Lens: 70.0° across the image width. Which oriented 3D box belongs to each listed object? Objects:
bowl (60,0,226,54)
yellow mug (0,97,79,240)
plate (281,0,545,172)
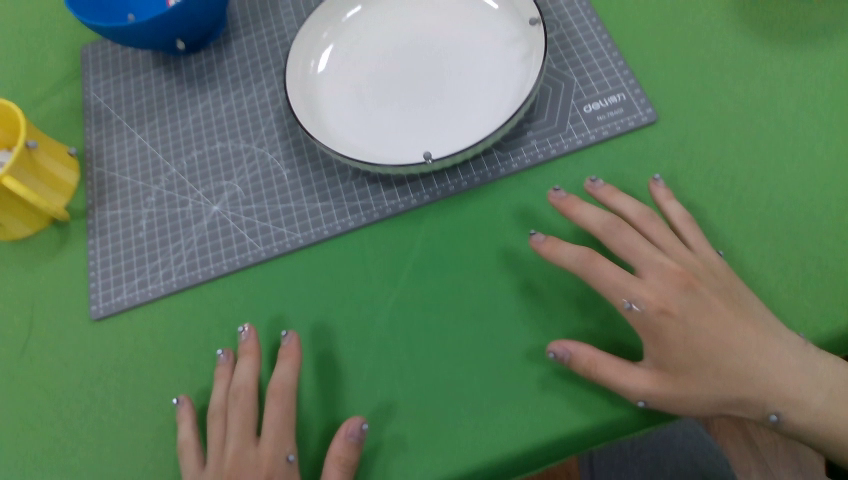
[{"bbox_3d":[-0.231,-0.222,0.540,0.151,0.077,0.150,-4,65,10],"label":"bowl"},{"bbox_3d":[-0.339,-0.052,0.493,0.130,0.064,0.099,29,73,20],"label":"yellow mug"},{"bbox_3d":[-0.009,-0.139,0.481,0.209,0.038,0.207,-4,65,9],"label":"plate"}]
